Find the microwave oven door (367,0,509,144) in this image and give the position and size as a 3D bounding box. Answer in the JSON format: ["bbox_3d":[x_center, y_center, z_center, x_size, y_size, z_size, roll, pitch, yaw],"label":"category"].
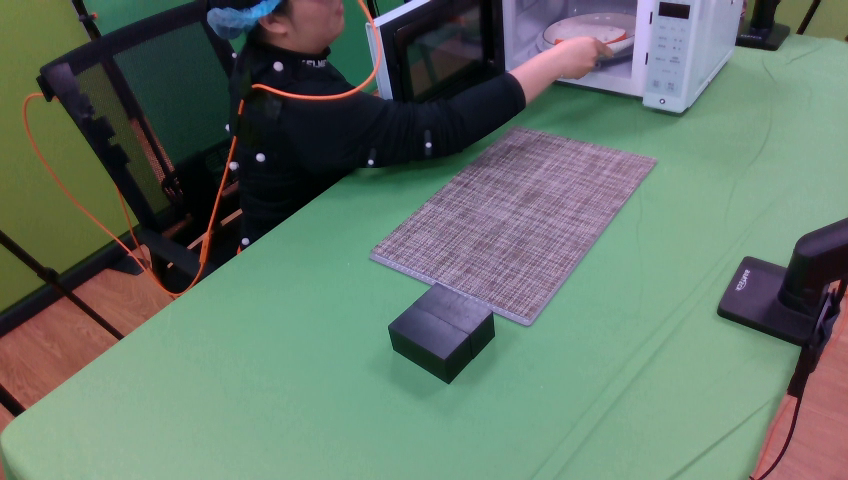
[{"bbox_3d":[0.044,-0.383,1.234,0.039,0.245,0.357,28,53,36],"label":"microwave oven door"}]

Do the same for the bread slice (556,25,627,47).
[{"bbox_3d":[0.365,-0.430,1.288,0.105,0.019,0.130,-36,40,-28],"label":"bread slice"}]

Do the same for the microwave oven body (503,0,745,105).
[{"bbox_3d":[0.416,-0.486,1.290,0.438,0.261,0.327,21,50,33],"label":"microwave oven body"}]

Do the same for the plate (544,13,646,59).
[{"bbox_3d":[0.361,-0.430,1.284,0.209,0.038,0.208,-8,35,6],"label":"plate"}]

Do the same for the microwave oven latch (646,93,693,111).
[{"bbox_3d":[0.477,-0.273,1.177,0.078,0.029,0.030,22,50,33],"label":"microwave oven latch"}]
